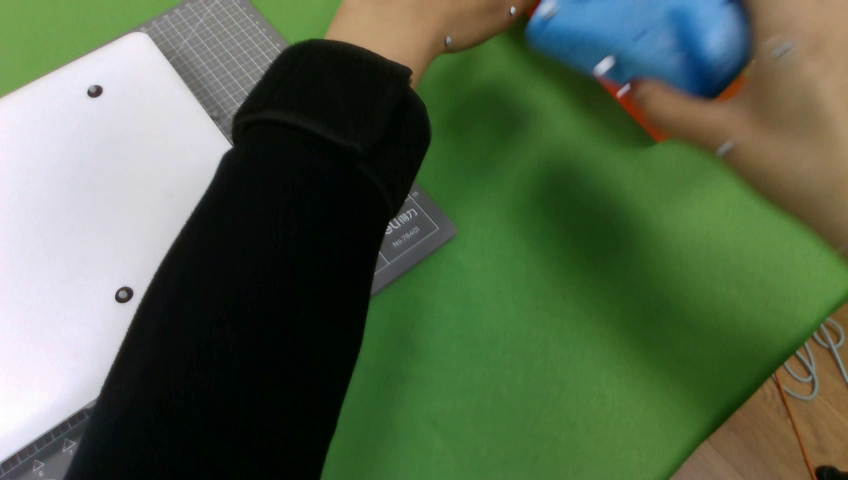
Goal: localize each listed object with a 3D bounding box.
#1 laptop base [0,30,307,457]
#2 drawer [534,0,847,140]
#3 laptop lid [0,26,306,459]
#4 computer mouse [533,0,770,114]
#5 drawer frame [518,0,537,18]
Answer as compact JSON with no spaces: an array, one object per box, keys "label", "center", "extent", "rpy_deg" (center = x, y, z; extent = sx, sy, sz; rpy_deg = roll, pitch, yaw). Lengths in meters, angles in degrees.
[{"label":"laptop base","center":[-0.278,0.023,0.375],"extent":[0.354,0.023,0.234],"rpy_deg":[-34,72,-14]},{"label":"drawer","center":[0.184,-0.201,0.439],"extent":[0.194,0.074,0.210],"rpy_deg":[-30,66,-11]},{"label":"laptop lid","center":[-0.277,0.019,0.364],"extent":[0.357,0.013,0.240],"rpy_deg":[-33,70,-14]},{"label":"computer mouse","center":[0.115,-0.117,0.319],"extent":[0.063,0.041,0.116],"rpy_deg":[-47,58,-6]},{"label":"drawer frame","center":[0.118,-0.302,0.487],"extent":[0.202,0.083,0.211],"rpy_deg":[-28,66,-11]}]
